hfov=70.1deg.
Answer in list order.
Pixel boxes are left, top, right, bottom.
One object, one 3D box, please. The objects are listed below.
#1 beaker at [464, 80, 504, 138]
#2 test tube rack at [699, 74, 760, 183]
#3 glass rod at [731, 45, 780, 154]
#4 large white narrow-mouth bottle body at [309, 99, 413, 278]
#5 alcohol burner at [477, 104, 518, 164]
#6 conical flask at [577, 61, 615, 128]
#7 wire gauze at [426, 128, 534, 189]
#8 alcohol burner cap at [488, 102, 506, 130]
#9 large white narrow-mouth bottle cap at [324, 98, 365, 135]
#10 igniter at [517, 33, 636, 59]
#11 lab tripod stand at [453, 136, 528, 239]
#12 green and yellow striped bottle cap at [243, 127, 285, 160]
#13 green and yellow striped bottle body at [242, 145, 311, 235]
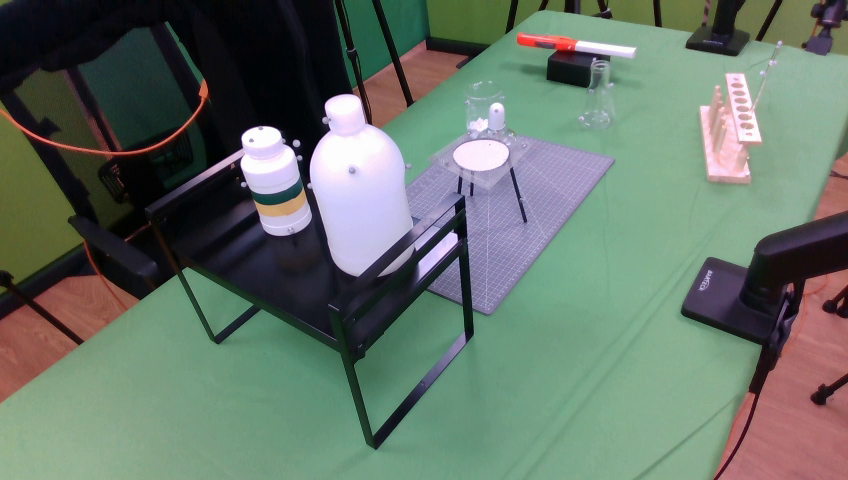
[{"bbox_3d":[0.118,-0.254,1.193,0.074,0.101,0.083,-19,41,-14],"label":"beaker"},{"bbox_3d":[0.547,-0.208,1.095,0.066,0.085,0.242,6,42,16],"label":"test tube rack"},{"bbox_3d":[0.556,-0.231,1.018,0.008,0.200,0.008,2,41,-1],"label":"glass rod"},{"bbox_3d":[-0.068,-0.057,0.644,0.102,0.195,0.101,-3,42,3],"label":"large white narrow-mouth bottle body"},{"bbox_3d":[0.135,-0.200,1.117,0.078,0.119,0.077,-4,43,4],"label":"alcohol burner"},{"bbox_3d":[0.343,-0.288,1.188,0.075,0.122,0.075,-4,41,4],"label":"conical flask"},{"bbox_3d":[0.086,-0.131,0.924,0.124,0.011,0.122,26,52,33],"label":"wire gauze"},{"bbox_3d":[0.133,-0.227,1.092,0.034,0.048,0.033,-1,47,2],"label":"alcohol burner cap"},{"bbox_3d":[-0.076,-0.120,0.586,0.038,0.024,0.037,-3,42,3],"label":"large white narrow-mouth bottle cap"},{"bbox_3d":[0.336,-0.441,1.369,0.275,0.025,0.057,16,41,23],"label":"igniter"},{"bbox_3d":[0.095,-0.086,0.974,0.148,0.132,0.147,-4,43,4],"label":"lab tripod stand"},{"bbox_3d":[-0.183,-0.111,0.694,0.045,0.020,0.045,-1,42,1],"label":"green and yellow striped bottle cap"},{"bbox_3d":[-0.179,-0.069,0.730,0.063,0.120,0.063,-4,41,4],"label":"green and yellow striped bottle body"}]
